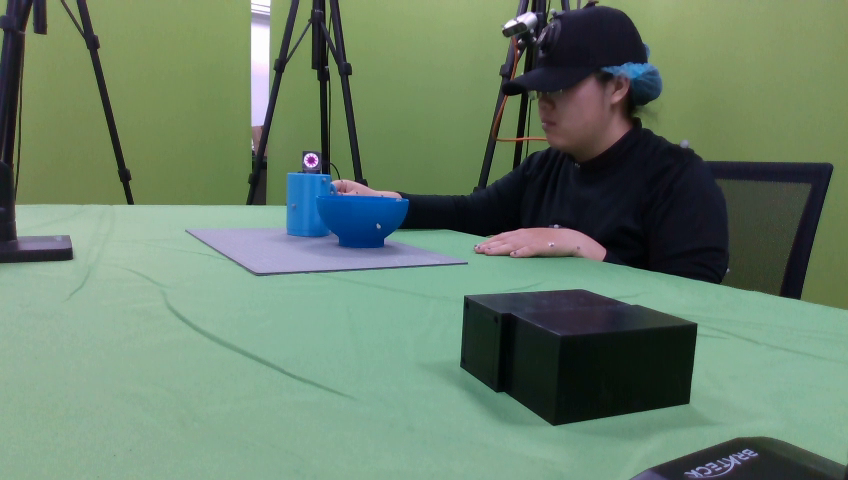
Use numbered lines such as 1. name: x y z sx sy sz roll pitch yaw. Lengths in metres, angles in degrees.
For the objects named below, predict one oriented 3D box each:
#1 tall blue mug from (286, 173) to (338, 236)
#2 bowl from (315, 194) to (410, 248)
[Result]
1. tall blue mug: -0.204 -0.066 1.092 0.078 0.108 0.107 3 7 5
2. bowl: -0.100 -0.030 0.971 0.151 0.077 0.151 2 7 0
